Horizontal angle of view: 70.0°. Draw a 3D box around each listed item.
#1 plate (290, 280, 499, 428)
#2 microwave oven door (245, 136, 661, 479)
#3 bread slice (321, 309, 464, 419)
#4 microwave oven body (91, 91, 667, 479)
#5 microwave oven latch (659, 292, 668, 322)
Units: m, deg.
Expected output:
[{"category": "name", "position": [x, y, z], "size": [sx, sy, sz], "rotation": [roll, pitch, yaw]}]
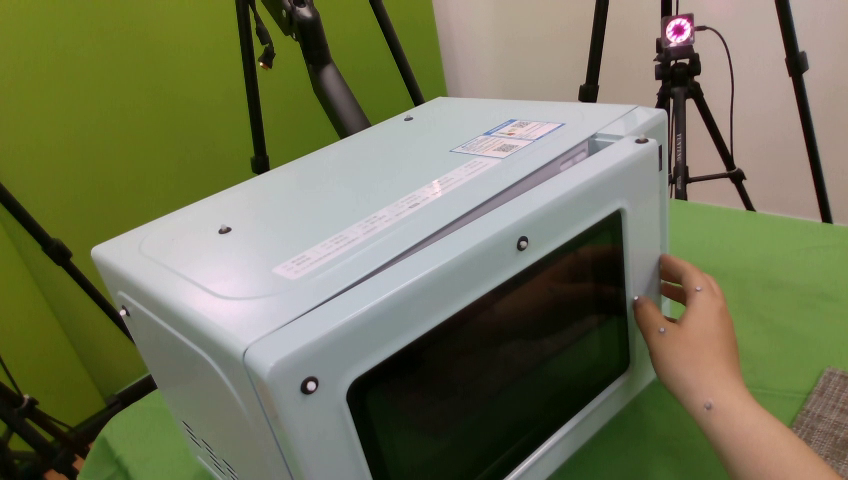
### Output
[{"category": "plate", "position": [-0.027, 0.110, 0.597], "size": [0.209, 0.038, 0.207], "rotation": [-11, 27, 6]}, {"category": "microwave oven door", "position": [0.064, 0.093, 0.462], "size": [0.356, 0.246, 0.039], "rotation": [-29, 31, -30]}, {"category": "bread slice", "position": [-0.028, 0.113, 0.603], "size": [0.131, 0.019, 0.104], "rotation": [-29, 31, -25]}, {"category": "microwave oven body", "position": [-0.015, 0.048, 0.600], "size": [0.442, 0.262, 0.323], "rotation": [-33, 33, -34]}, {"category": "microwave oven latch", "position": [0.230, 0.083, 0.642], "size": [0.079, 0.030, 0.030], "rotation": [-32, 33, -32]}]
